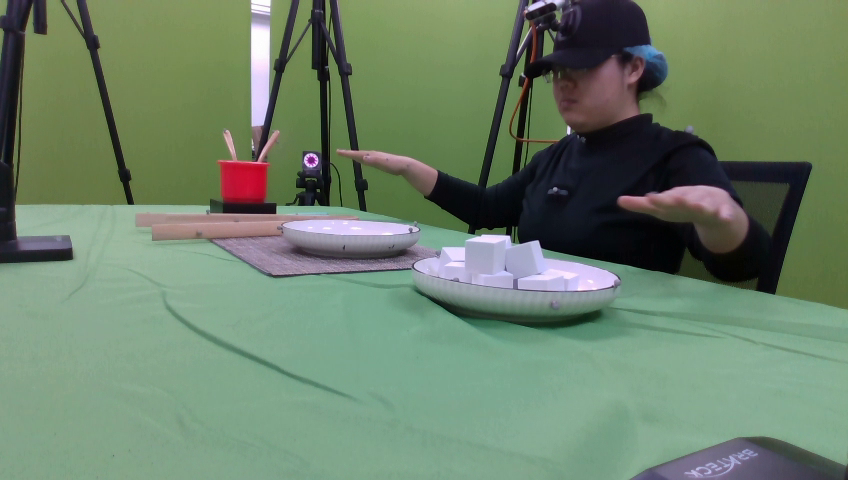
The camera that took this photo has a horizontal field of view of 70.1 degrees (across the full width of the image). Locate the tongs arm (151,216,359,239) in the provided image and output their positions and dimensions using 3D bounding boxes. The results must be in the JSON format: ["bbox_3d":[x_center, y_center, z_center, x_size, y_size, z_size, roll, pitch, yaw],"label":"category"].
[{"bbox_3d":[-0.264,-0.023,1.032,0.390,0.028,0.028,-3,4,-42],"label":"tongs arm"}]

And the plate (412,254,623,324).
[{"bbox_3d":[0.090,0.047,0.609,0.209,0.038,0.209,2,7,0],"label":"plate"}]

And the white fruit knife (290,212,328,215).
[{"bbox_3d":[-0.304,-0.050,1.328,0.208,0.016,0.027,-3,-19,-29],"label":"white fruit knife"}]

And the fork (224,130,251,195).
[{"bbox_3d":[-0.372,-0.156,1.193,0.028,0.018,0.206,-17,54,-14],"label":"fork"}]

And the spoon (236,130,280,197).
[{"bbox_3d":[-0.321,-0.154,1.192,0.041,0.193,0.022,0,-37,19],"label":"spoon"}]

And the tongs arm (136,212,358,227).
[{"bbox_3d":[-0.308,-0.034,1.100,0.387,0.026,0.050,-1,6,-29],"label":"tongs arm"}]

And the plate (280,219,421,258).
[{"bbox_3d":[-0.108,-0.002,0.902,0.208,0.039,0.207,3,7,0],"label":"plate"}]
